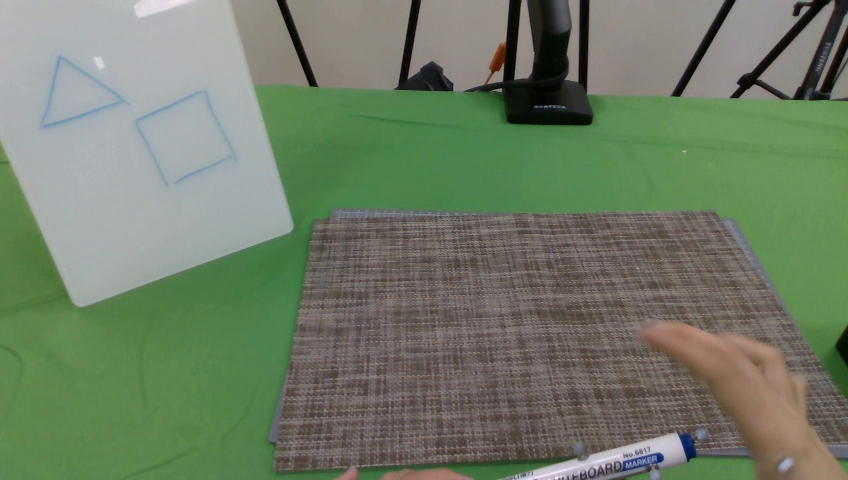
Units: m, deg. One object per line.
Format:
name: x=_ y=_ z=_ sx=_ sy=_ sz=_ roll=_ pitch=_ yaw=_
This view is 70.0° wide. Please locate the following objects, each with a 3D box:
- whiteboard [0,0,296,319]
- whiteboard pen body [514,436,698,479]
whiteboard: x=-0.288 y=-0.119 z=0.599 sx=0.217 sy=0.307 sz=0.142 roll=-22 pitch=25 yaw=-26
whiteboard pen body: x=0.074 y=0.130 z=0.324 sx=0.140 sy=0.017 sz=0.017 roll=-21 pitch=36 yaw=13
